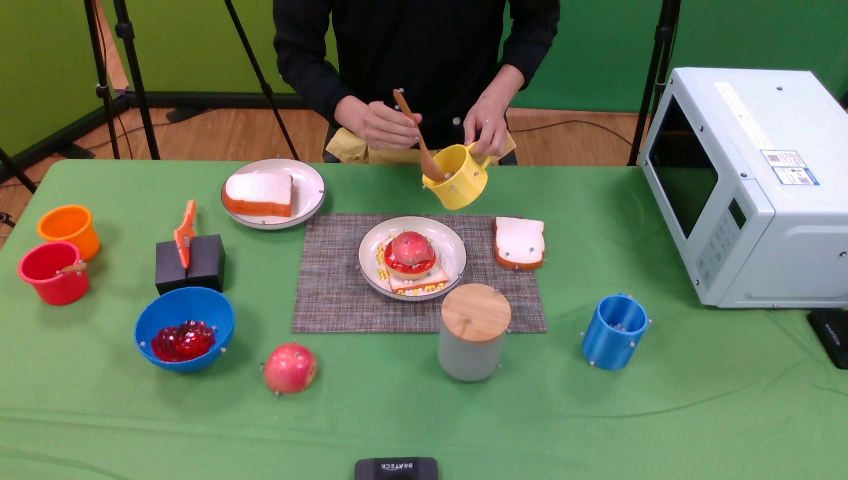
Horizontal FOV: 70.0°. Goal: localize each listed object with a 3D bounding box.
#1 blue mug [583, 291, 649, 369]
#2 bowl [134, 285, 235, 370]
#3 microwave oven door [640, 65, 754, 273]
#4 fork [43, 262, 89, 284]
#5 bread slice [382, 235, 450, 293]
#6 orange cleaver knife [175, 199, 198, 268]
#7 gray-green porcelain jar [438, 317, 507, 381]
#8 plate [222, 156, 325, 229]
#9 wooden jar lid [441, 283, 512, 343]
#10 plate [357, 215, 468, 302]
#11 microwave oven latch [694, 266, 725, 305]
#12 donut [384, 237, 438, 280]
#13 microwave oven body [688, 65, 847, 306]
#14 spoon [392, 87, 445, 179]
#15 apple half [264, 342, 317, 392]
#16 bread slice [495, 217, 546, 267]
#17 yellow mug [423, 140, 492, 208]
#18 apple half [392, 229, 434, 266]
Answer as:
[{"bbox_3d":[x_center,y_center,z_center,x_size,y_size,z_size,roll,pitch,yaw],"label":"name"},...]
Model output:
[{"bbox_3d":[0.324,0.142,1.023,0.082,0.106,0.116,15,47,11],"label":"blue mug"},{"bbox_3d":[-0.377,0.155,0.981,0.151,0.077,0.150,2,46,-2],"label":"bowl"},{"bbox_3d":[0.523,-0.147,1.193,0.039,0.245,0.353,0,47,-3],"label":"microwave oven door"},{"bbox_3d":[-0.599,0.053,1.013,0.207,0.019,0.028,-14,30,45],"label":"fork"},{"bbox_3d":[-0.025,0.044,1.146,0.107,0.018,0.133,-14,54,-14],"label":"bread slice"},{"bbox_3d":[-0.438,-0.017,1.138,0.012,0.077,0.210,-14,27,-7],"label":"orange cleaver knife"},{"bbox_3d":[0.076,0.158,0.977,0.106,0.127,0.105,2,47,-2],"label":"gray-green porcelain jar"},{"bbox_3d":[-0.308,-0.095,1.251,0.209,0.038,0.208,2,47,-2],"label":"plate"},{"bbox_3d":[0.080,0.114,0.931,0.108,0.021,0.107,1,49,-1],"label":"wooden jar lid"},{"bbox_3d":[-0.022,0.037,1.141,0.208,0.039,0.206,2,46,-2],"label":"plate"},{"bbox_3d":[0.523,0.082,1.115,0.030,0.029,0.078,3,46,0],"label":"microwave oven latch"},{"bbox_3d":[-0.025,0.030,1.110,0.099,0.048,0.098,2,46,-2],"label":"donut"},{"bbox_3d":[0.669,-0.111,1.176,0.326,0.261,0.439,0,46,-3],"label":"microwave oven body"},{"bbox_3d":[-0.011,-0.169,0.991,0.041,0.195,0.021,6,48,34],"label":"spoon"},{"bbox_3d":[-0.214,0.198,0.970,0.074,0.053,0.080,19,48,10],"label":"apple half"},{"bbox_3d":[0.194,0.002,1.205,0.105,0.019,0.131,5,45,3],"label":"bread slice"},{"bbox_3d":[0.067,-0.126,1.075,0.131,0.064,0.099,-43,34,3],"label":"yellow mug"},{"bbox_3d":[-0.020,0.005,1.083,0.081,0.033,0.081,6,48,-6],"label":"apple half"}]
